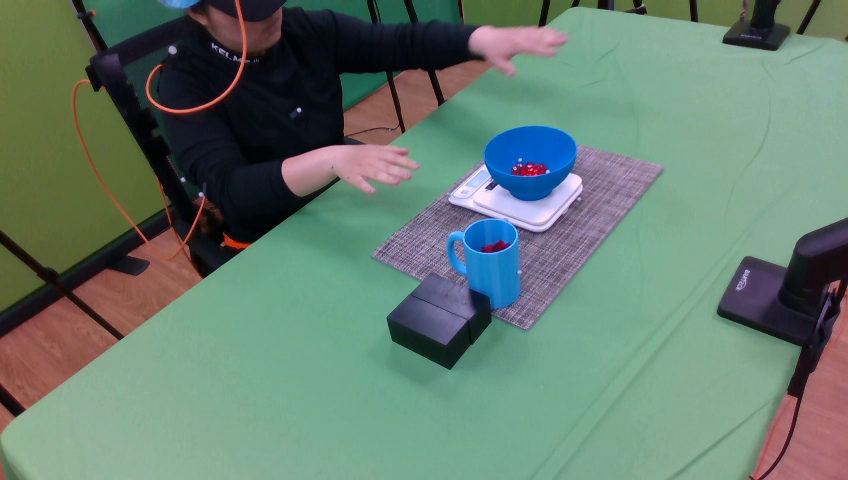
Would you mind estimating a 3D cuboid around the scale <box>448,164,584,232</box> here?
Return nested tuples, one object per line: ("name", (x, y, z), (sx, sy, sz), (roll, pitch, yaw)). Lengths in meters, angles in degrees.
("scale", (0.156, -0.085, 1.039), (0.199, 0.032, 0.149), (22, 49, 32))

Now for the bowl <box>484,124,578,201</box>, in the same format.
("bowl", (0.175, -0.117, 0.991), (0.151, 0.077, 0.150), (-6, 40, 5))

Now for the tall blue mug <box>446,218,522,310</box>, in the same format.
("tall blue mug", (0.082, 0.034, 0.852), (0.107, 0.108, 0.077), (-1, 41, 10))
